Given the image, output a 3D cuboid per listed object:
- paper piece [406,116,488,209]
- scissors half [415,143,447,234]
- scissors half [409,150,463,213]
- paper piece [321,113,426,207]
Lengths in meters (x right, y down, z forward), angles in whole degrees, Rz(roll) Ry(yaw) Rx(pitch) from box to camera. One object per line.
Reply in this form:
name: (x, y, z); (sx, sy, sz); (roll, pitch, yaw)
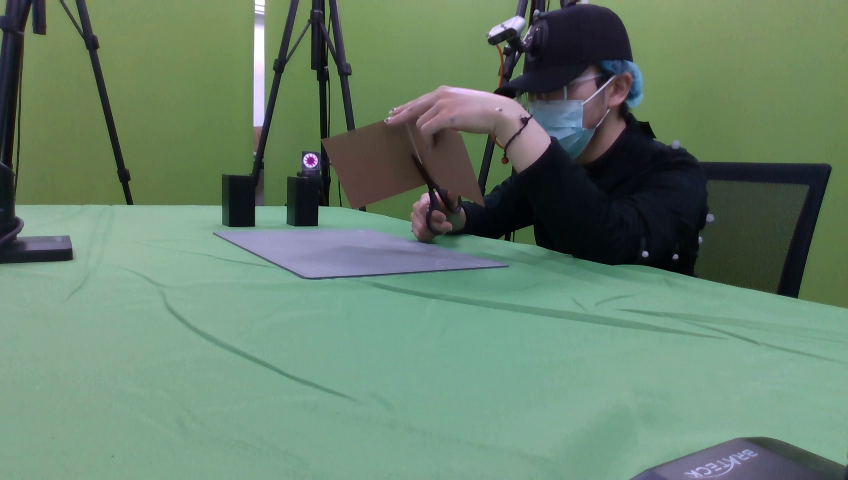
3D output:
paper piece: (0.034, -0.118, 0.909); (0.008, 0.136, 0.137); (-41, 40, -19)
scissors half: (0.008, -0.083, 1.008); (0.012, 0.175, 0.040); (19, 44, 42)
scissors half: (0.021, -0.099, 1.018); (0.013, 0.040, 0.176); (14, -18, 40)
paper piece: (-0.076, -0.125, 0.965); (0.136, 0.136, 0.004); (-19, 37, 2)
